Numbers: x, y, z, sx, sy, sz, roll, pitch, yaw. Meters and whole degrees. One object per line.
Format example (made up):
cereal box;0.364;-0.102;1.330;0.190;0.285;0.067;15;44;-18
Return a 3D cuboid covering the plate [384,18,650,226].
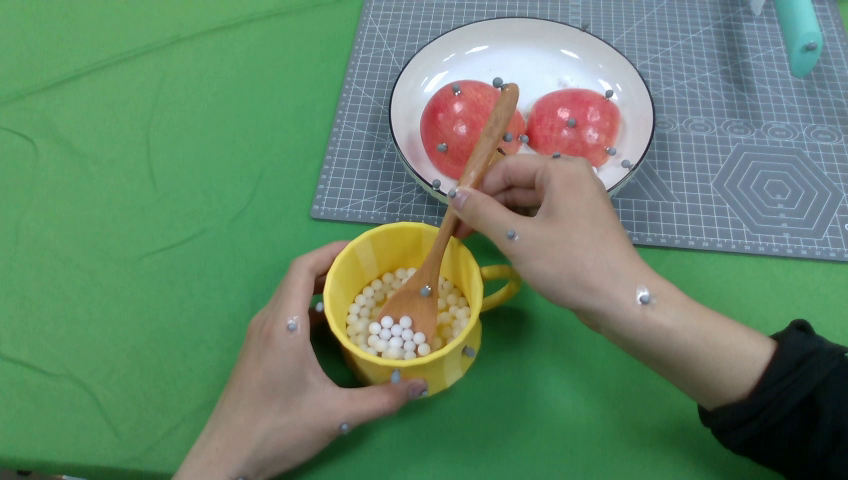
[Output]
plate;0.072;-0.096;0.491;0.209;0.038;0.207;-1;60;2

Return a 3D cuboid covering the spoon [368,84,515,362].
spoon;0.013;-0.005;0.377;0.041;0.022;0.194;29;106;18

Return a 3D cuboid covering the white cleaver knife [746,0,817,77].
white cleaver knife;0.310;-0.246;0.552;0.021;0.066;0.284;3;56;10

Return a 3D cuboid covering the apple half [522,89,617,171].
apple half;0.116;-0.096;0.481;0.081;0.033;0.080;-1;63;2

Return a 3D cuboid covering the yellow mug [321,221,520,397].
yellow mug;0.002;0.042;0.401;0.131;0.064;0.099;-15;62;-8

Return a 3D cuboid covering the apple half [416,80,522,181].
apple half;0.034;-0.093;0.472;0.081;0.054;0.074;-34;61;-16
